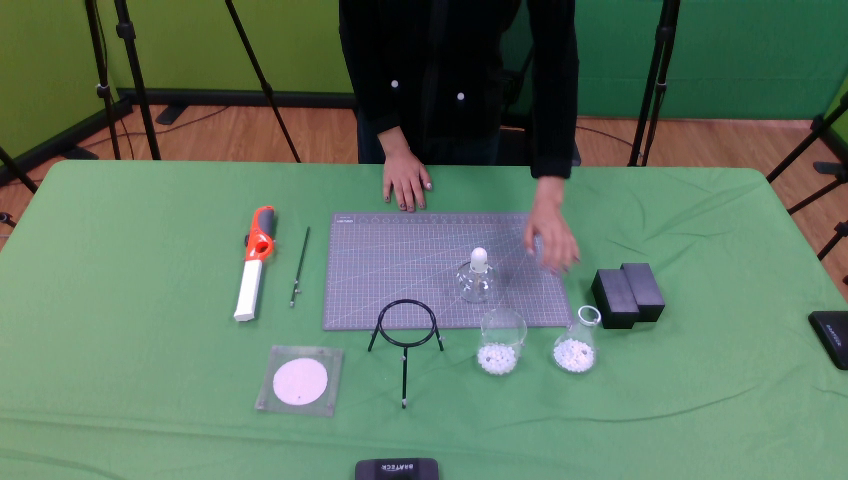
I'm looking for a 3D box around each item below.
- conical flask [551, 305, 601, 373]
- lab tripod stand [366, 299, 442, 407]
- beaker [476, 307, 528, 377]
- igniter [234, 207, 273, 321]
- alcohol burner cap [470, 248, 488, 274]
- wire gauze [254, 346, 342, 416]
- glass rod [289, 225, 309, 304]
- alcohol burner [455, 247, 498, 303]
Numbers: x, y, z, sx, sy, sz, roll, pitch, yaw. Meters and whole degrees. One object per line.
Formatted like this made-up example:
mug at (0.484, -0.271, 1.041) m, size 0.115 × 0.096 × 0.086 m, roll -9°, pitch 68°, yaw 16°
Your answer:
conical flask at (0.257, 0.158, 0.998) m, size 0.075 × 0.122 × 0.075 m, roll 2°, pitch 45°, yaw -2°
lab tripod stand at (-0.028, 0.166, 0.961) m, size 0.148 × 0.132 × 0.147 m, roll 2°, pitch 44°, yaw -2°
beaker at (0.122, 0.171, 0.991) m, size 0.084 × 0.101 × 0.073 m, roll -34°, pitch 56°, yaw -30°
igniter at (-0.319, 0.035, 1.137) m, size 0.057 × 0.025 × 0.274 m, roll -7°, pitch 46°, yaw 3°
alcohol burner cap at (0.096, 0.034, 1.057) m, size 0.034 × 0.048 × 0.033 m, roll -3°, pitch 52°, yaw 4°
wire gauze at (-0.201, 0.223, 0.978) m, size 0.125 × 0.011 × 0.121 m, roll 4°, pitch 45°, yaw 1°
glass rod at (-0.235, 0.043, 1.150) m, size 0.008 × 0.008 × 0.198 m, roll 3°, pitch 46°, yaw -1°
alcohol burner at (0.095, 0.057, 1.085) m, size 0.078 × 0.120 × 0.077 m, roll 1°, pitch 47°, yaw -1°
